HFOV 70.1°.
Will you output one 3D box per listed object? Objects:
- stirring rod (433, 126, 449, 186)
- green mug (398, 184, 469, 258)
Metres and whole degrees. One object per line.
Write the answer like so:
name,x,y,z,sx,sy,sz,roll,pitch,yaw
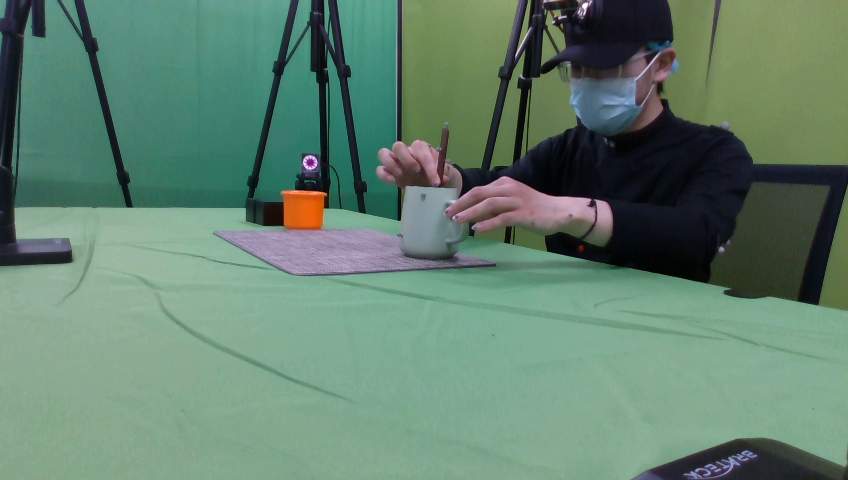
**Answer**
stirring rod,0.018,-0.078,0.880,0.006,0.176,0.014,-2,16,-38
green mug,0.020,-0.028,0.890,0.093,0.105,0.124,-4,9,-41
